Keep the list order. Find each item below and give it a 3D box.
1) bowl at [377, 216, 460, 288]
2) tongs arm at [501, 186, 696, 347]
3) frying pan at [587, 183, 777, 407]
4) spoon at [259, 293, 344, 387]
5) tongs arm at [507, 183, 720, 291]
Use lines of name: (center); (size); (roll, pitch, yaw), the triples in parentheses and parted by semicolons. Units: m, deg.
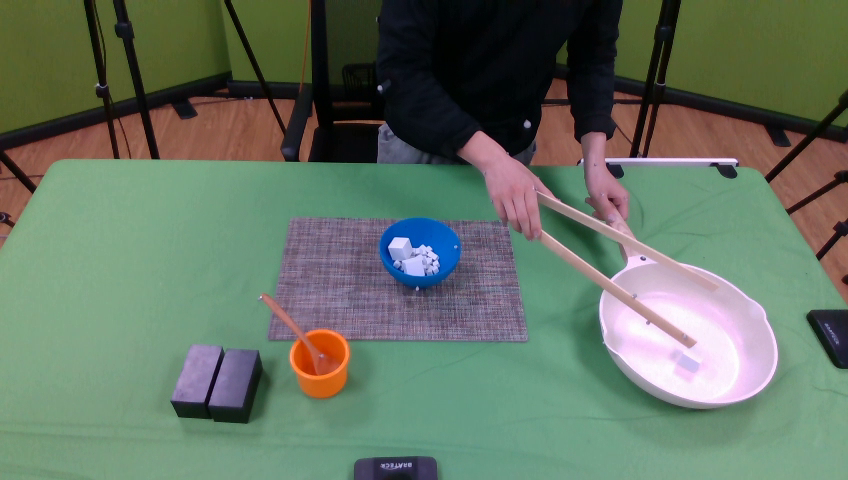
bowl: (-0.012, 0.035, 1.118); (0.151, 0.077, 0.150); (2, 46, -2)
tongs arm: (0.282, 0.039, 0.999); (0.384, 0.026, 0.050); (36, 60, 11)
frying pan: (0.412, 0.079, 1.097); (0.307, 0.103, 0.484); (-9, 56, -14)
spoon: (-0.191, 0.155, 0.947); (0.021, 0.194, 0.041); (-13, 27, 50)
tongs arm: (0.320, -0.006, 1.035); (0.387, 0.028, 0.028); (28, 63, 6)
